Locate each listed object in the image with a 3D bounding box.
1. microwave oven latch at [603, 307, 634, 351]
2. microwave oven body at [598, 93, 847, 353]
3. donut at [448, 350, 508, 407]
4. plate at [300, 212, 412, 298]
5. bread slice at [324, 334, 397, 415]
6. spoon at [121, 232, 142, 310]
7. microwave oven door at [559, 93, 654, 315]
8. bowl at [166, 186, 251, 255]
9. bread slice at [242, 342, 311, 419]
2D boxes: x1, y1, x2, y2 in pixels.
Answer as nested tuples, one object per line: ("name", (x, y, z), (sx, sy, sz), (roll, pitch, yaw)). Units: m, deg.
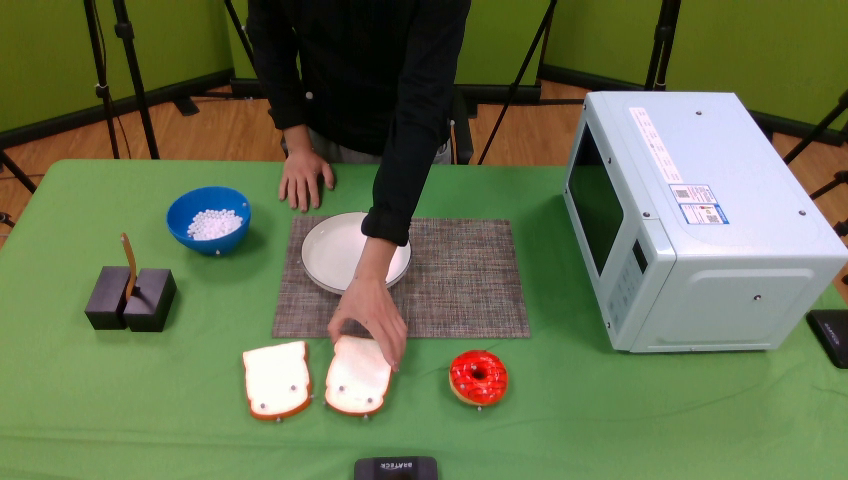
("microwave oven latch", (0.332, 0.153, 1.044), (0.030, 0.029, 0.078), (0, 45, -4))
("microwave oven body", (0.475, -0.041, 1.109), (0.326, 0.261, 0.438), (-1, 45, -4))
("donut", (0.087, 0.223, 0.977), (0.099, 0.048, 0.098), (4, 46, -4))
("plate", (-0.127, 0.032, 1.145), (0.208, 0.039, 0.206), (2, 46, -2))
("bread slice", (-0.103, 0.215, 0.972), (0.107, 0.018, 0.133), (2, 51, 4))
("spoon", (-0.479, 0.051, 0.994), (0.022, 0.194, 0.041), (13, 46, -11))
("microwave oven door", (0.327, -0.074, 1.123), (0.039, 0.245, 0.353), (-1, 46, -5))
("bowl", (-0.403, -0.024, 1.154), (0.151, 0.077, 0.150), (3, 46, -2))
("bread slice", (-0.234, 0.223, 0.970), (0.105, 0.019, 0.130), (-10, 46, -13))
